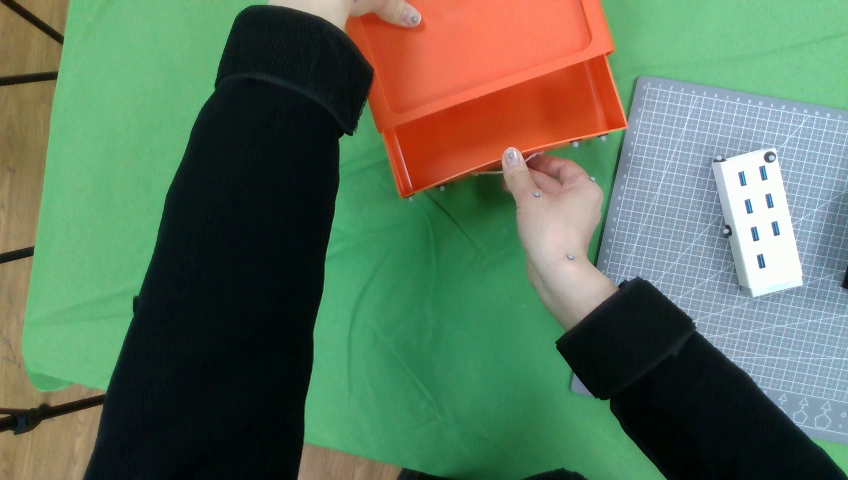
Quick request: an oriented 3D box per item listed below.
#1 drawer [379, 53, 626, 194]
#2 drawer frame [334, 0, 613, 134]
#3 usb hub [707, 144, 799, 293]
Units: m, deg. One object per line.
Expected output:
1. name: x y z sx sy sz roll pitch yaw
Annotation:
1. drawer: 0.043 -0.164 0.516 0.194 0.073 0.212 -17 94 6
2. drawer frame: 0.024 -0.220 0.505 0.201 0.082 0.214 -18 95 6
3. usb hub: 0.295 -0.019 0.541 0.049 0.025 0.125 -16 97 4
